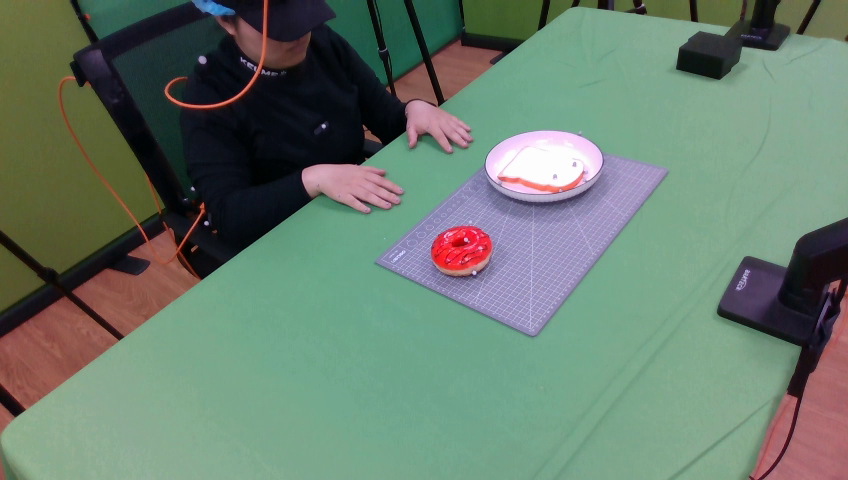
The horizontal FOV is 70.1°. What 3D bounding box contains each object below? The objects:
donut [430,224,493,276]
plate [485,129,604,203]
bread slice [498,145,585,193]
[{"bbox_3d":[0.058,0.014,0.934,0.099,0.048,0.098,-7,40,6],"label":"donut"},{"bbox_3d":[0.213,-0.129,1.079,0.209,0.038,0.208,-5,40,5],"label":"plate"},{"bbox_3d":[0.216,-0.125,1.076,0.133,0.018,0.107,16,47,28],"label":"bread slice"}]
